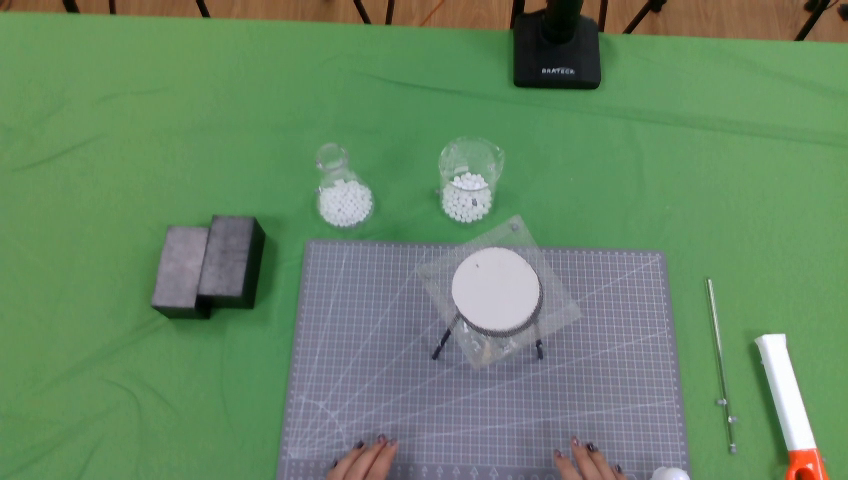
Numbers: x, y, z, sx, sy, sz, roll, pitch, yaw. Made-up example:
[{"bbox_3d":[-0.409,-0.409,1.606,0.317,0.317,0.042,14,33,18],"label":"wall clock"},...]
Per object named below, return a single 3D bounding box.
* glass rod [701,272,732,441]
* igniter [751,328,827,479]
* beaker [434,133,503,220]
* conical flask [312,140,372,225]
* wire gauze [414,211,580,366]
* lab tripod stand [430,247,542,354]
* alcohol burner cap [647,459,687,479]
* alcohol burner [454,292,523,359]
[{"bbox_3d":[0.341,0.131,0.708,0.008,0.008,0.198,2,68,1],"label":"glass rod"},{"bbox_3d":[0.408,0.232,0.656,0.057,0.025,0.274,0,68,-11],"label":"igniter"},{"bbox_3d":[0.053,-0.075,0.742,0.084,0.101,0.073,-23,70,-9],"label":"beaker"},{"bbox_3d":[-0.105,-0.073,0.729,0.075,0.122,0.075,0,67,1],"label":"conical flask"},{"bbox_3d":[0.071,0.046,0.599,0.125,0.011,0.120,-26,72,-9],"label":"wire gauze"},{"bbox_3d":[0.070,0.075,0.660,0.148,0.132,0.147,0,70,1],"label":"lab tripod stand"},{"bbox_3d":[0.259,0.248,0.639,0.034,0.048,0.033,0,67,0],"label":"alcohol burner cap"},{"bbox_3d":[0.073,0.089,0.665,0.078,0.120,0.077,1,66,-1],"label":"alcohol burner"}]
